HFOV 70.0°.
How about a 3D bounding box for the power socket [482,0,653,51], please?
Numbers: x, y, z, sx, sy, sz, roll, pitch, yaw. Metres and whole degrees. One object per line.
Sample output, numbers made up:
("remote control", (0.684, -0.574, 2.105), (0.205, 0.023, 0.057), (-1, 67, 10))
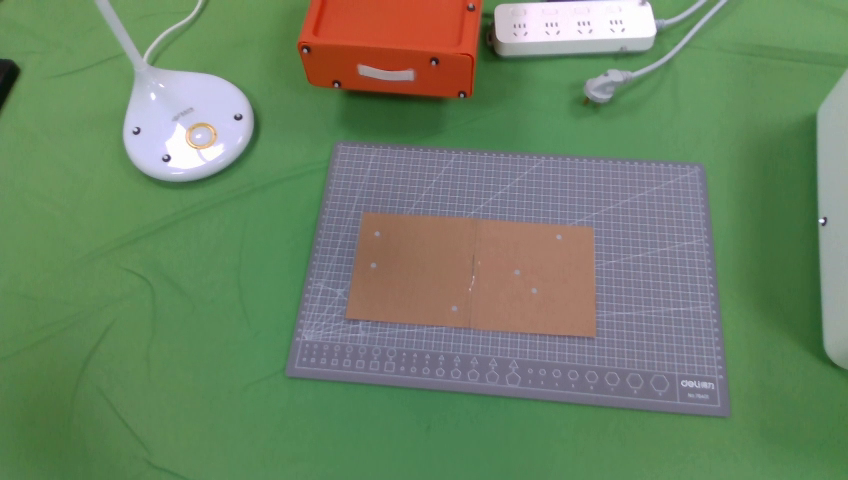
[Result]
("power socket", (0.191, -0.290, 0.807), (0.227, 0.033, 0.071), (-1, 65, 1))

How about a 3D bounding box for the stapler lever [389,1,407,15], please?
("stapler lever", (-0.061, -0.277, 0.725), (0.117, 0.040, 0.027), (34, 86, 21))

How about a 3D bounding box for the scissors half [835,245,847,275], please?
("scissors half", (0.514, -0.017, 0.672), (0.175, 0.013, 0.040), (-40, 78, -19))

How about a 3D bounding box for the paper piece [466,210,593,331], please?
("paper piece", (0.117, 0.031, 0.667), (0.135, 0.004, 0.134), (4, 65, 4))

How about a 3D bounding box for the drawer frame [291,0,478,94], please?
("drawer frame", (-0.036, -0.292, 0.739), (0.201, 0.083, 0.212), (5, 64, 5))

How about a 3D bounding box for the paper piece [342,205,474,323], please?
("paper piece", (-0.015, 0.023, 0.677), (0.136, 0.009, 0.137), (3, 66, 7))

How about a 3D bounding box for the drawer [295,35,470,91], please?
("drawer", (-0.035, -0.289, 0.738), (0.194, 0.074, 0.210), (5, 64, 5))

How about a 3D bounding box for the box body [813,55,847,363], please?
("box body", (0.552, -0.039, 0.603), (0.254, 0.161, 0.361), (11, 65, 7))

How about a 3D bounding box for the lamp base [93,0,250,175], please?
("lamp base", (-0.312, -0.191, 0.694), (0.178, 0.182, 0.160), (35, 70, 20))

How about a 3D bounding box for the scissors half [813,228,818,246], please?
("scissors half", (0.503, -0.032, 0.678), (0.175, 0.013, 0.039), (-23, 67, -14))

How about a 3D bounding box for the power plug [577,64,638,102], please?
("power plug", (0.228, -0.193, 0.757), (0.073, 0.053, 0.035), (5, 59, -17))

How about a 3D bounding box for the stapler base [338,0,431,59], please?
("stapler base", (-0.052, -0.270, 0.750), (0.130, 0.024, 0.041), (34, 87, 19))
